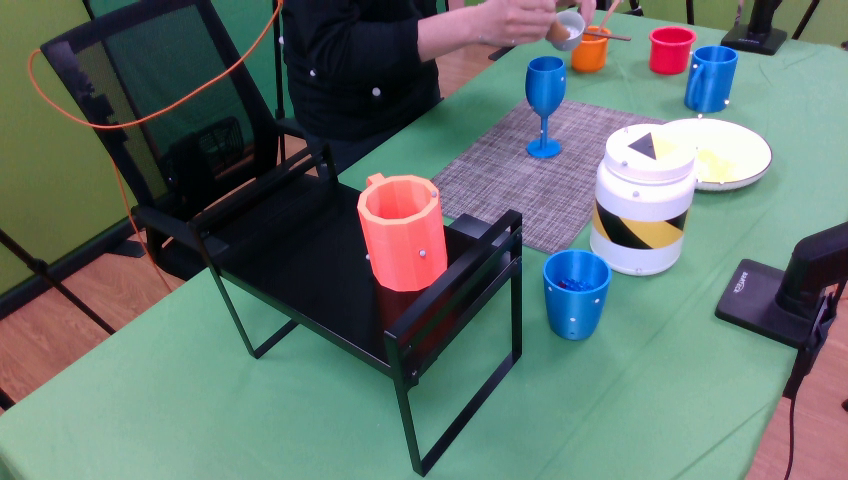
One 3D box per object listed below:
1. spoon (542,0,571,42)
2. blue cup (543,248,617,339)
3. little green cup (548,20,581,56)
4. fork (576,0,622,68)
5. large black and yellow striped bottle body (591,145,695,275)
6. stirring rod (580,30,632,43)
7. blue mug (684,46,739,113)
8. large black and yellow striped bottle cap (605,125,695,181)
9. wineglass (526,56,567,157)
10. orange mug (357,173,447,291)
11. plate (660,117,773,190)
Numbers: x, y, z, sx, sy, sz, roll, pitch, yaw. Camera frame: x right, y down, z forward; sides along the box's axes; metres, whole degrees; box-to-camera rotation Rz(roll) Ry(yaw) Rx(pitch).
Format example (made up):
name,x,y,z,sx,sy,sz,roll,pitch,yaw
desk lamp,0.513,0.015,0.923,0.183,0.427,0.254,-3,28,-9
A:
name,x,y,z,sx,sy,sz,roll,pitch,yaw
spoon,0.194,-0.353,0.934,0.041,0.195,0.021,-4,76,22
blue cup,0.199,0.076,0.797,0.092,0.100,0.092,-4,39,4
little green cup,0.252,-0.360,1.082,0.061,0.039,0.061,-14,41,13
fork,0.409,-0.484,1.381,0.028,0.019,0.207,37,101,45
large black and yellow striped bottle body,0.313,-0.056,0.870,0.131,0.185,0.130,-4,40,4
stirring rod,0.381,-0.462,1.356,0.175,0.006,0.014,23,48,29
blue mug,0.556,-0.310,1.190,0.117,0.106,0.081,-32,46,-25
large black and yellow striped bottle cap,0.304,-0.120,0.817,0.115,0.019,0.114,-3,41,3
wineglass,0.222,-0.241,1.102,0.074,0.173,0.073,-4,41,4
orange mug,-0.029,-0.018,0.669,0.084,0.101,0.125,-23,46,-16
plate,0.495,-0.148,1.063,0.209,0.038,0.208,-5,40,4
